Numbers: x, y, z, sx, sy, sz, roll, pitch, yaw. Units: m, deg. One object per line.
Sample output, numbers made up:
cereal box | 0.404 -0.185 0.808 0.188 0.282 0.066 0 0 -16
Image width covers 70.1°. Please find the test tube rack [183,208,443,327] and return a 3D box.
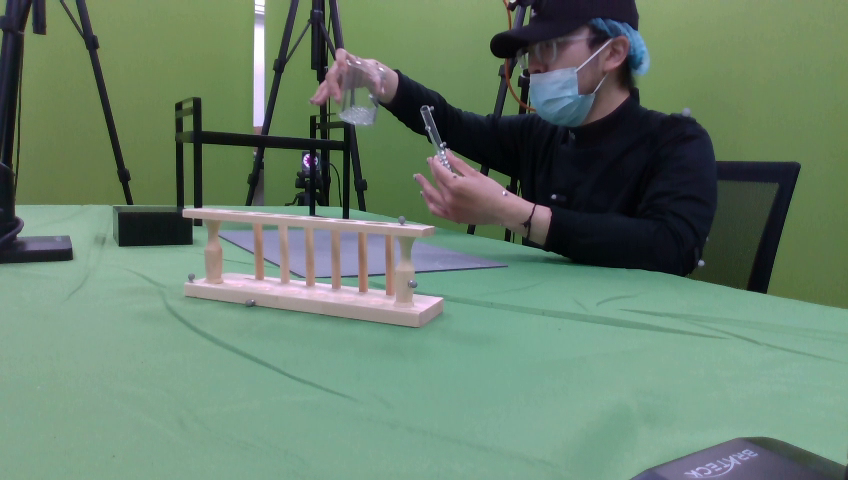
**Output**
test tube rack | -0.106 0.019 0.570 0.241 0.085 0.067 5 8 19

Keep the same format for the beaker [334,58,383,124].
beaker | -0.116 -0.259 1.060 0.074 0.100 0.083 3 23 -26

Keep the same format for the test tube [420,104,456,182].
test tube | 0.022 -0.157 0.972 0.017 0.150 0.017 -16 -24 -7
